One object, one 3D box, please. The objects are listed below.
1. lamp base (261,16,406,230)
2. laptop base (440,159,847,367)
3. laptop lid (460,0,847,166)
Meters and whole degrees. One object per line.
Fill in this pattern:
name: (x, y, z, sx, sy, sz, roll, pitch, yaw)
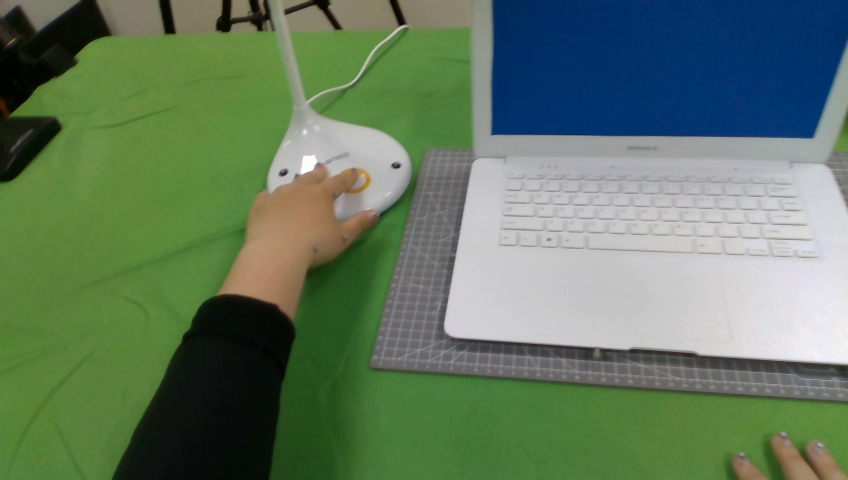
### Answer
lamp base: (-0.116, -0.128, 0.624, 0.160, 0.182, 0.177, -35, 49, -25)
laptop base: (0.202, 0.010, 0.558, 0.353, 0.023, 0.233, 2, 49, 10)
laptop lid: (0.211, -0.169, 0.565, 0.356, 0.244, 0.013, 1, 38, 11)
